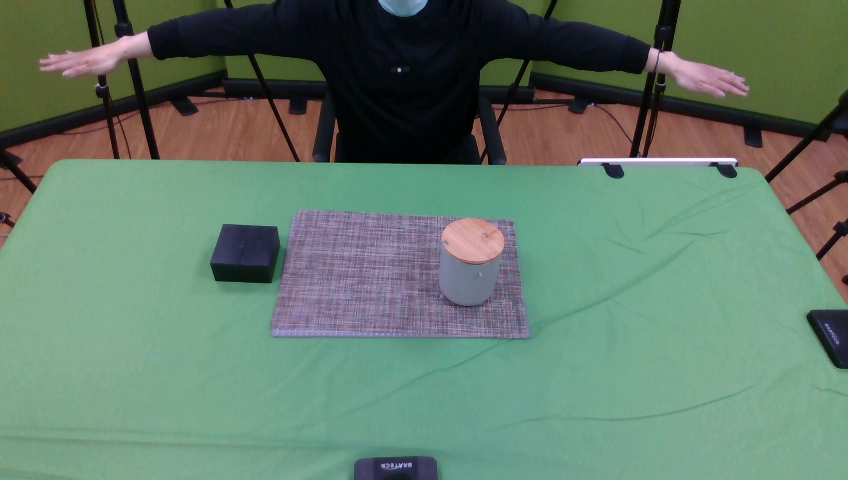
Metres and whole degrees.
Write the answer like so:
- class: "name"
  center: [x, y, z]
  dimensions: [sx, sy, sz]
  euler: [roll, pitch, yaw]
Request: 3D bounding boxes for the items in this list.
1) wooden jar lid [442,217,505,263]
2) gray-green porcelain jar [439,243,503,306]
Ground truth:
- class: "wooden jar lid"
  center: [0.084, 0.003, 1.033]
  dimensions: [0.108, 0.021, 0.107]
  euler: [1, 43, -1]
- class: "gray-green porcelain jar"
  center: [0.081, 0.046, 1.078]
  dimensions: [0.106, 0.127, 0.105]
  euler: [2, 46, -2]
